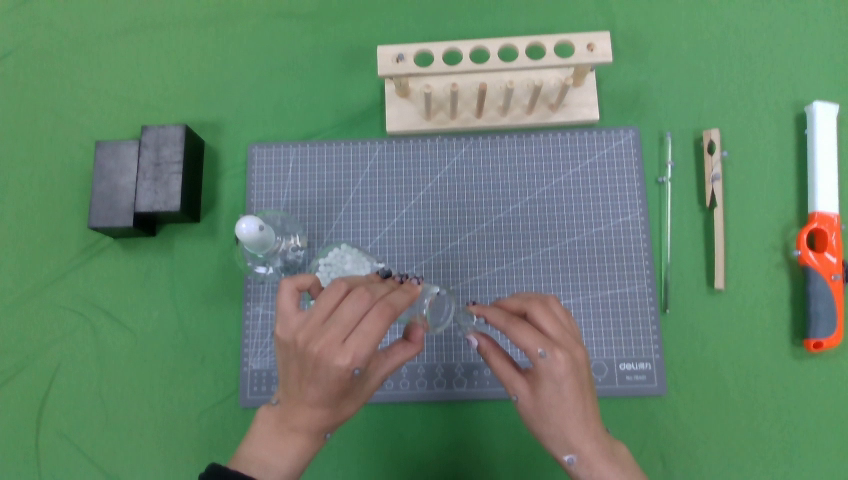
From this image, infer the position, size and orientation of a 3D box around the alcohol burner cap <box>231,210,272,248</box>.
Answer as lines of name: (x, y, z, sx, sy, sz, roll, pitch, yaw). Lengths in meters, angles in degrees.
alcohol burner cap: (-0.169, -0.013, 0.589, 0.034, 0.048, 0.033, 0, 74, -1)

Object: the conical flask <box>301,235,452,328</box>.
conical flask: (-0.036, 0.040, 0.493, 0.121, 0.076, 0.075, 11, 77, 37)

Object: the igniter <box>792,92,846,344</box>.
igniter: (0.422, -0.026, 0.649, 0.057, 0.025, 0.275, 8, 79, -6)

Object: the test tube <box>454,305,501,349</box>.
test tube: (0.050, 0.081, 0.543, 0.017, 0.151, 0.017, -5, 71, 15)

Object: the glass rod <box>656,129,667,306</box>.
glass rod: (0.261, -0.027, 0.666, 0.008, 0.008, 0.199, 4, 81, 3)

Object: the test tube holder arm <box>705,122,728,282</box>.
test tube holder arm: (0.318, -0.043, 0.660, 0.013, 0.015, 0.177, -10, 75, 38)

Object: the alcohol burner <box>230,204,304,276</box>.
alcohol burner: (-0.167, -0.004, 0.624, 0.078, 0.119, 0.077, -1, 78, 5)

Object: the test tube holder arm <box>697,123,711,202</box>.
test tube holder arm: (0.313, -0.086, 0.672, 0.010, 0.015, 0.087, -8, 76, 39)

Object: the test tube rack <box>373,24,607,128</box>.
test tube rack: (0.070, -0.177, 0.665, 0.242, 0.085, 0.066, -3, 78, 2)
